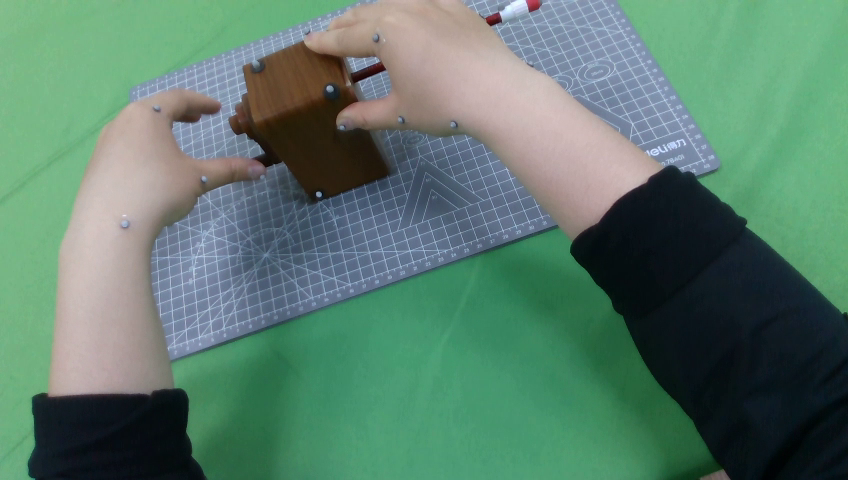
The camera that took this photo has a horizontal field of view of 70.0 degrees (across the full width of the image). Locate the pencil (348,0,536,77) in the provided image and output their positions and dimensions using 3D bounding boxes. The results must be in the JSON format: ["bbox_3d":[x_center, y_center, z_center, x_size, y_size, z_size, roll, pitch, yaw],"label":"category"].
[{"bbox_3d":[-0.013,-0.134,0.425,0.194,0.012,0.012,-22,61,3],"label":"pencil"}]

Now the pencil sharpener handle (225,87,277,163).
[{"bbox_3d":[-0.132,-0.080,0.445,0.030,0.068,0.035,-22,65,3],"label":"pencil sharpener handle"}]

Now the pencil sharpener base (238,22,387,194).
[{"bbox_3d":[-0.082,-0.093,0.453,0.076,0.108,0.061,-22,60,3],"label":"pencil sharpener base"}]
